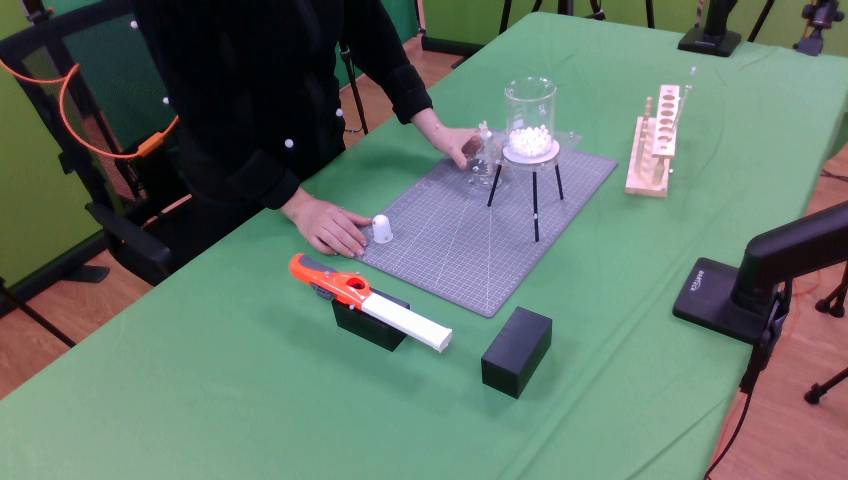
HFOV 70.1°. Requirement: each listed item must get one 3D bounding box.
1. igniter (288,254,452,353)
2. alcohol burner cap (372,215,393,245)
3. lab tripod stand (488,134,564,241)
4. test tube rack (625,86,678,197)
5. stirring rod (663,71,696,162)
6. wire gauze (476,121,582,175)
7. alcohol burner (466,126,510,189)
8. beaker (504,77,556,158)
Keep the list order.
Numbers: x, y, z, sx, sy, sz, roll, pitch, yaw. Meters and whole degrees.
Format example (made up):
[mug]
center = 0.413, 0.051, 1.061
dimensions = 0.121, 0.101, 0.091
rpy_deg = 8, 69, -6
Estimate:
[igniter]
center = -0.083, 0.080, 0.818
dimensions = 0.274, 0.025, 0.057
rpy_deg = 23, 46, 27
[alcohol burner cap]
center = -0.070, -0.019, 0.990
dimensions = 0.034, 0.048, 0.033
rpy_deg = -4, 41, 4
[lab tripod stand]
center = 0.168, -0.092, 0.972
dimensions = 0.148, 0.132, 0.147
rpy_deg = -5, 41, 5
[test tube rack]
center = 0.412, -0.184, 1.088
dimensions = 0.066, 0.085, 0.242
rpy_deg = 9, 43, 18
[stirring rod]
center = 0.411, -0.196, 0.981
dimensions = 0.014, 0.177, 0.006
rpy_deg = 11, 50, 13
[wire gauze]
center = 0.162, -0.141, 0.929
dimensions = 0.120, 0.011, 0.125
rpy_deg = 19, 49, 32
[alcohol burner]
center = 0.111, -0.150, 1.063
dimensions = 0.078, 0.119, 0.077
rpy_deg = -4, 42, 4
[beaker]
center = 0.160, -0.181, 0.900
dimensions = 0.084, 0.101, 0.073
rpy_deg = -32, 46, -27
